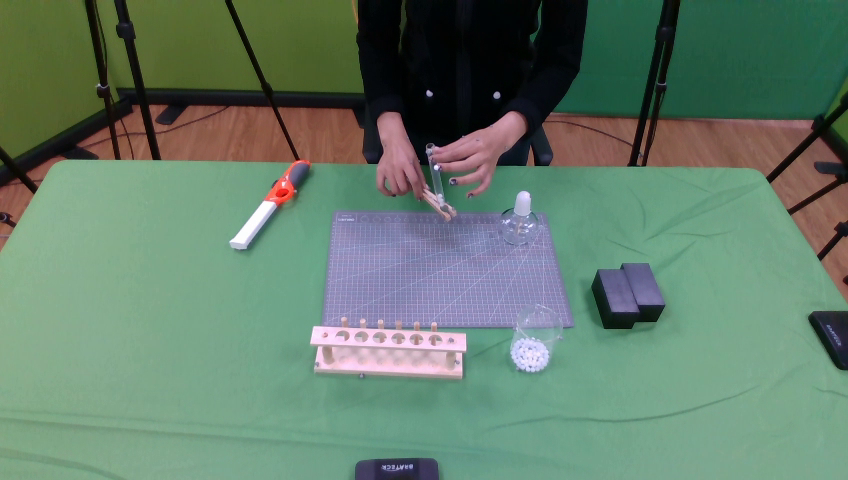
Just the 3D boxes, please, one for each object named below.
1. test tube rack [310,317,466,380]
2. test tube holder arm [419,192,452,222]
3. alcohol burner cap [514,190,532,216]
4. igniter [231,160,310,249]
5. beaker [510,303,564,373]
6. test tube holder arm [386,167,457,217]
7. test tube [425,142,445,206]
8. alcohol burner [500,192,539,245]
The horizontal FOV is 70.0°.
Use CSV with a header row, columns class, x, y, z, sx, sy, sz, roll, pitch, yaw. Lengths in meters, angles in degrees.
class,x,y,z,sx,sy,sz,roll,pitch,yaw
test tube rack,-0.056,0.171,0.986,0.242,0.085,0.066,3,45,-1
test tube holder arm,0.021,-0.066,1.155,0.010,0.015,0.087,-39,62,-14
alcohol burner cap,0.192,-0.075,1.166,0.034,0.048,0.033,2,41,-1
igniter,-0.311,-0.081,1.250,0.057,0.025,0.275,9,45,18
beaker,0.182,0.164,1.000,0.074,0.101,0.083,2,46,-1
test tube holder arm,-0.006,-0.095,1.177,0.177,0.015,0.013,36,71,25
test tube,0.021,-0.115,1.082,0.017,0.151,0.017,-6,50,7
alcohol burner,0.190,-0.048,1.190,0.078,0.120,0.077,1,47,-1
